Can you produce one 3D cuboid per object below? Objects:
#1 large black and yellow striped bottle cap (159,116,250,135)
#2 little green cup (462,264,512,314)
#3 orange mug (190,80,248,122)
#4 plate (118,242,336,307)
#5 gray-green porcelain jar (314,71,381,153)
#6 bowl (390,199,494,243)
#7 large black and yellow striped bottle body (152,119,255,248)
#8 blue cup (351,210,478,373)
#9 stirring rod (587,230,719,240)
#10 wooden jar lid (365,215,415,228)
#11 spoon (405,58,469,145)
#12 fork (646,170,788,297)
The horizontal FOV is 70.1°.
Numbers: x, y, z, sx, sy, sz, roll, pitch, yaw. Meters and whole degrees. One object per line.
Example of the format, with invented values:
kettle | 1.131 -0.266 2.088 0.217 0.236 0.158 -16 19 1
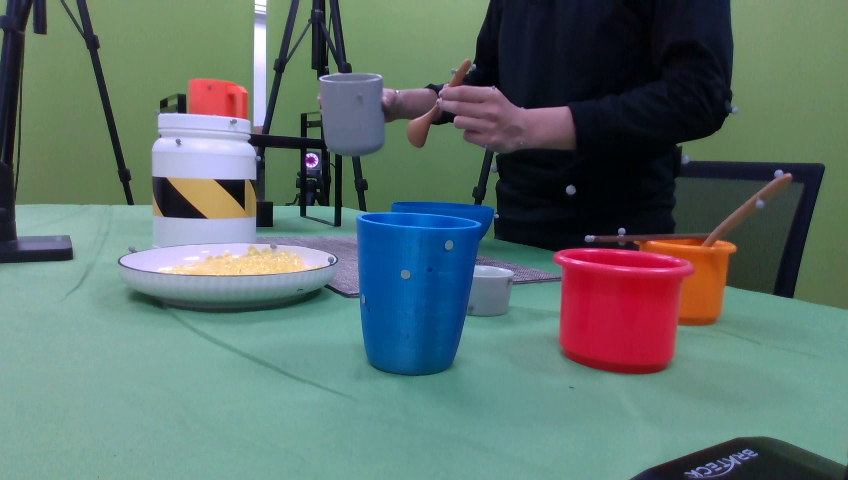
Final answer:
large black and yellow striped bottle cap | -0.292 -0.153 0.810 0.115 0.019 0.115 3 8 0
little green cup | 0.053 0.047 0.580 0.061 0.038 0.061 3 8 0
orange mug | -0.394 -0.257 1.172 0.126 0.100 0.084 1 6 25
plate | -0.194 0.033 0.615 0.209 0.038 0.209 2 7 0
gray-green porcelain jar | -0.129 -0.219 1.038 0.106 0.126 0.105 -2 22 1
bowl | 0.024 -0.015 0.872 0.151 0.077 0.151 3 8 0
large black and yellow striped bottle body | -0.296 -0.070 0.819 0.131 0.184 0.130 2 7 0
blue cup | -0.009 0.034 0.414 0.093 0.100 0.092 4 8 0
stirring rod | 0.226 -0.005 0.587 0.177 0.006 0.014 -2 10 -29
wooden jar lid | -0.072 -0.040 1.291 0.108 0.020 0.108 3 8 0
spoon | 0.017 -0.197 0.871 0.022 0.041 0.193 -31 -10 -39
fork | 0.256 0.004 0.543 0.028 0.018 0.207 3 -36 -9
